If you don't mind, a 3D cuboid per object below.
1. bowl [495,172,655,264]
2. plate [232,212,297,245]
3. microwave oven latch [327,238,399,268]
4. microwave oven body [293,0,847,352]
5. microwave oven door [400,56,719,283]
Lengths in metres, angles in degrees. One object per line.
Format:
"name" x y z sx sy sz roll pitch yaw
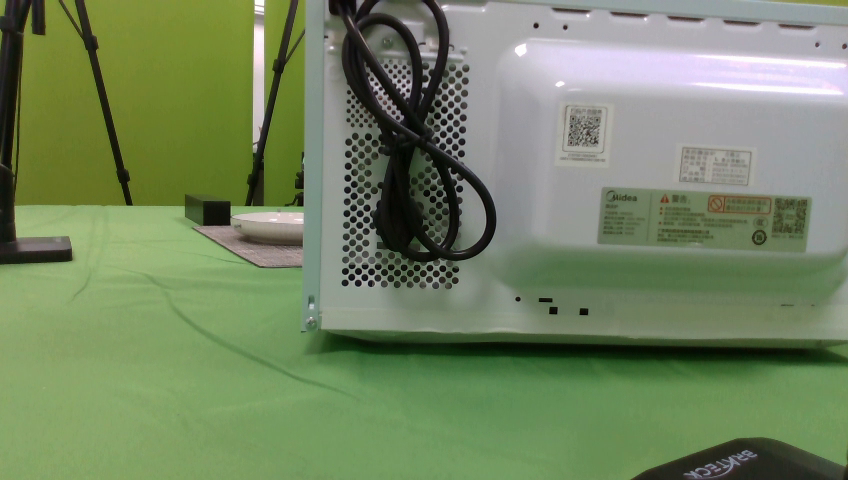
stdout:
"bowl" 0.144 -0.023 0.592 0.151 0.077 0.151 1 11 0
"plate" -0.214 -0.019 1.018 0.208 0.039 0.207 3 7 0
"microwave oven latch" -0.069 0.015 0.694 0.079 0.029 0.030 3 7 -3
"microwave oven body" 0.122 -0.055 0.550 0.442 0.260 0.325 3 7 -5
"microwave oven door" 0.155 -0.077 0.698 0.356 0.243 0.039 2 8 -5
